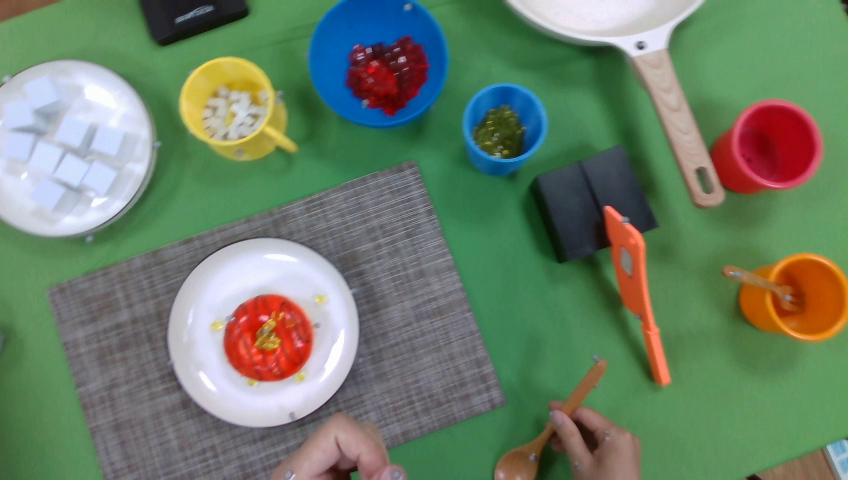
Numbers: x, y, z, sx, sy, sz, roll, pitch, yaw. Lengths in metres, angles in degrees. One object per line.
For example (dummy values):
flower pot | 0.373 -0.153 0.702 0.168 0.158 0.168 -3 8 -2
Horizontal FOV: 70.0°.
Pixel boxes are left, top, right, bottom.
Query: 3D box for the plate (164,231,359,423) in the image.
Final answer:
plate | -0.175 0.094 0.671 0.209 0.038 0.208 0 85 0

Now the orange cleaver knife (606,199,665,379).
orange cleaver knife | 0.229 0.056 0.659 0.012 0.076 0.213 -20 114 -2

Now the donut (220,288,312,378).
donut | -0.171 0.101 0.660 0.099 0.048 0.099 0 88 -1

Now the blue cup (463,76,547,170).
blue cup | 0.083 -0.118 0.664 0.092 0.100 0.092 0 82 0

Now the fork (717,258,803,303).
fork | 0.353 0.042 0.627 0.209 0.018 0.028 15 82 -42

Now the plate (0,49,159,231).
plate | -0.404 -0.112 0.694 0.208 0.039 0.207 0 85 0

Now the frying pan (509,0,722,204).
frying pan | 0.228 -0.266 0.678 0.307 0.103 0.485 -15 77 -1

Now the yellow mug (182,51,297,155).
yellow mug | -0.199 -0.144 0.684 0.131 0.064 0.100 33 85 2

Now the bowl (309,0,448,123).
bowl | -0.048 -0.197 0.684 0.151 0.077 0.151 0 85 0

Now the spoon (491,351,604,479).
spoon | 0.131 0.190 0.639 0.041 0.022 0.194 39 116 15
